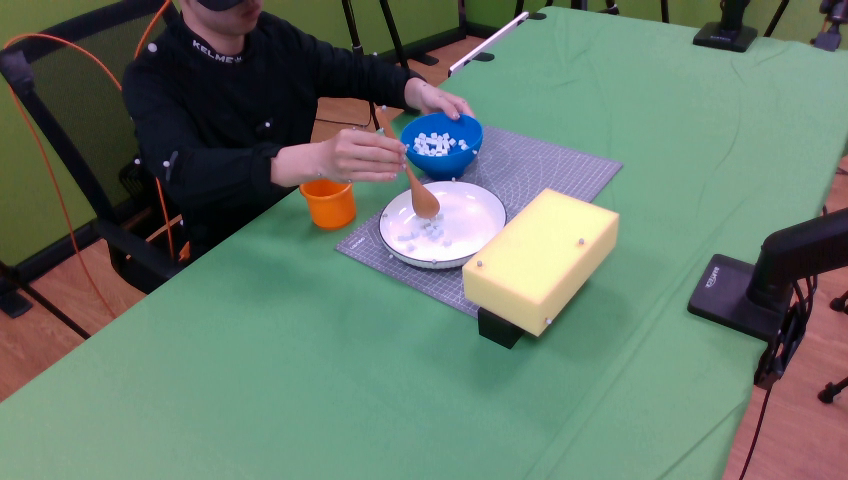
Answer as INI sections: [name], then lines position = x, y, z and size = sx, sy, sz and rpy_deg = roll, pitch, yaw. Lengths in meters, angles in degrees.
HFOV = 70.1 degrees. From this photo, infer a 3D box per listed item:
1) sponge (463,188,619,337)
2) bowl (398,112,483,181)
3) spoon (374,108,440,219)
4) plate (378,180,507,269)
[sponge]
position = 0.160, 0.022, 0.814
size = 0.117, 0.061, 0.207
rpy_deg = 24, 50, 32
[bowl]
position = 0.035, -0.161, 1.097
size = 0.151, 0.077, 0.150
rpy_deg = -4, 41, 4
[spoon]
position = -0.027, -0.107, 0.884
size = 0.041, 0.195, 0.021
rpy_deg = -24, 26, 9
[plate]
position = 0.031, -0.022, 0.974
size = 0.209, 0.038, 0.208
rpy_deg = -4, 40, 4
